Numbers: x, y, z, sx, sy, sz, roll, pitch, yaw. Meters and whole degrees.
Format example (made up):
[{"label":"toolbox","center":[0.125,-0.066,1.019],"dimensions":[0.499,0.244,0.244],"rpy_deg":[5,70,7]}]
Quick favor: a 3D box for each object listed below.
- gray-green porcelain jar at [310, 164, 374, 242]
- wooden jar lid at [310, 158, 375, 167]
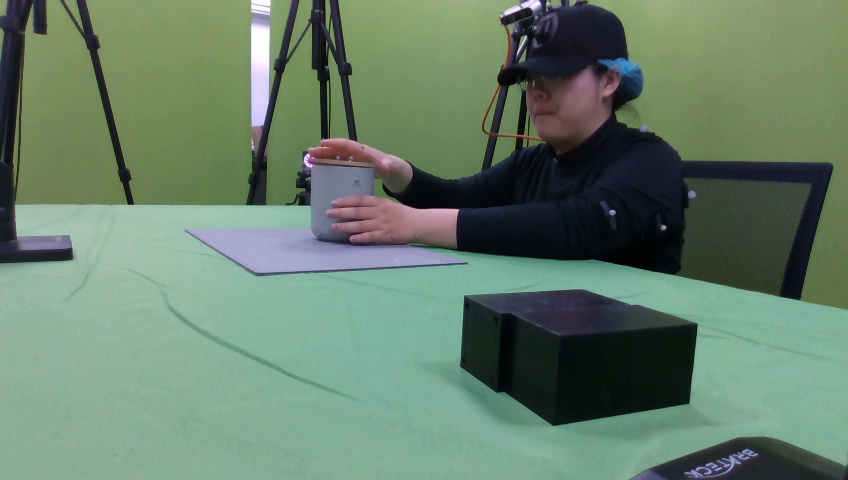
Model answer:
[{"label":"gray-green porcelain jar","center":[-0.139,-0.063,1.023],"dimensions":[0.106,0.126,0.106],"rpy_deg":[3,8,0]},{"label":"wooden jar lid","center":[-0.136,-0.125,1.015],"dimensions":[0.108,0.020,0.108],"rpy_deg":[4,8,0]}]
